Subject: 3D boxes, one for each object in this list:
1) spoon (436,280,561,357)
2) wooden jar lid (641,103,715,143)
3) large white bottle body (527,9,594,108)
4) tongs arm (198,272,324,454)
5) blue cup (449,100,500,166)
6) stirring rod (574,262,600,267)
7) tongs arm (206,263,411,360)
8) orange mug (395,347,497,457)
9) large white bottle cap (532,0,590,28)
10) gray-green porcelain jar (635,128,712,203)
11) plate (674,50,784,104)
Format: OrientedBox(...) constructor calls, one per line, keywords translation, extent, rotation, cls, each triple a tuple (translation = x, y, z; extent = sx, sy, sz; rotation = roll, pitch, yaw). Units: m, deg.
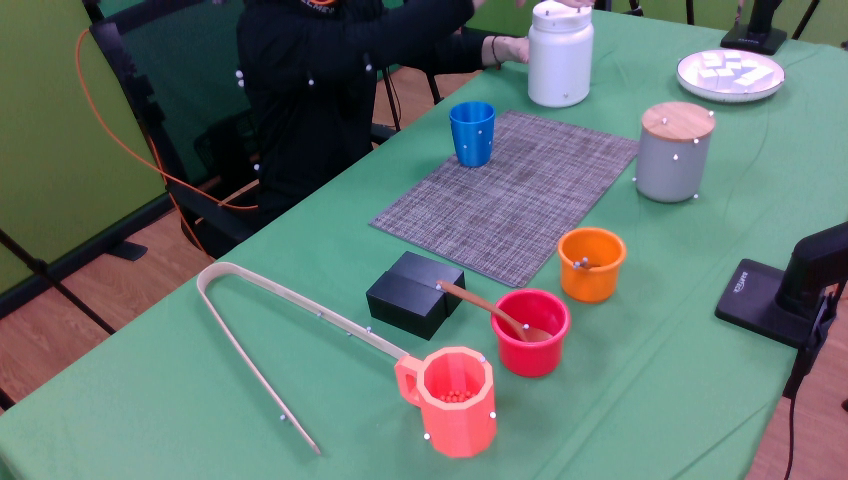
OrientedBox(translation=(0.096, 0.095, 0.758), extent=(0.195, 0.021, 0.041), rotation=(34, 40, -20), cls="spoon")
OrientedBox(translation=(0.398, -0.180, 0.952), extent=(0.108, 0.021, 0.108), rotation=(-4, 43, 4), cls="wooden jar lid")
OrientedBox(translation=(0.282, -0.386, 1.259), extent=(0.130, 0.185, 0.130), rotation=(-3, 41, 3), cls="large white bottle body")
OrientedBox(translation=(-0.236, 0.154, 0.831), extent=(0.028, 0.028, 0.384), rotation=(-37, 48, -18), cls="tongs arm")
OrientedBox(translation=(0.092, -0.194, 1.123), extent=(0.092, 0.100, 0.092), rotation=(-3, 40, 3), cls="blue cup")
OrientedBox(translation=(0.222, 0.033, 0.816), extent=(0.014, 0.006, 0.177), rotation=(7, 1, 22), cls="stirring rod")
OrientedBox(translation=(-0.179, 0.106, 0.870), extent=(0.381, 0.027, 0.051), rotation=(23, 55, 32), cls="tongs arm")
OrientedBox(translation=(0.024, 0.180, 0.703), extent=(0.125, 0.101, 0.083), rotation=(21, 48, 23), cls="orange mug")
OrientedBox(translation=(0.273, -0.450, 1.204), extent=(0.115, 0.018, 0.114), rotation=(-4, 40, 4), cls="large white bottle cap")
OrientedBox(translation=(0.404, -0.133, 0.992), extent=(0.106, 0.127, 0.105), rotation=(-4, 40, 4), cls="gray-green porcelain jar")
OrientedBox(translation=(0.631, -0.336, 1.262), extent=(0.207, 0.039, 0.206), rotation=(-4, 41, 4), cls="plate")
